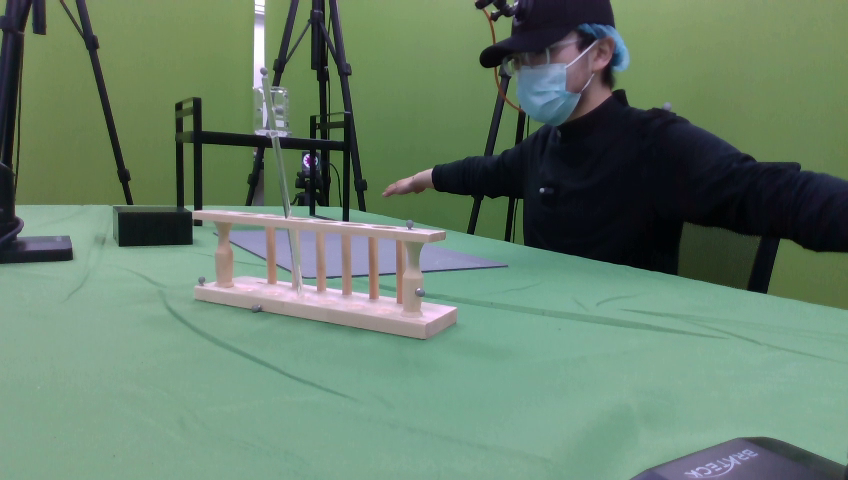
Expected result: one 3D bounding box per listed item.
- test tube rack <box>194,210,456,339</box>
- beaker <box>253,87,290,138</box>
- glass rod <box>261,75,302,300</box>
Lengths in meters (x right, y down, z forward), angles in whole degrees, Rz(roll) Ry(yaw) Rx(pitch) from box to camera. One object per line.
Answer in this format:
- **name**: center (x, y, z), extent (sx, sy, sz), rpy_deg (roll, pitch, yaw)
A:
- **test tube rack**: center (-0.093, 0.023, 0.545), extent (0.241, 0.085, 0.067), rpy_deg (6, 8, 25)
- **beaker**: center (-0.319, -0.265, 1.259), extent (0.073, 0.100, 0.084), rpy_deg (7, 9, 33)
- **glass rod**: center (-0.124, -0.043, 0.531), extent (0.008, 0.199, 0.008), rpy_deg (-7, 8, 1)
